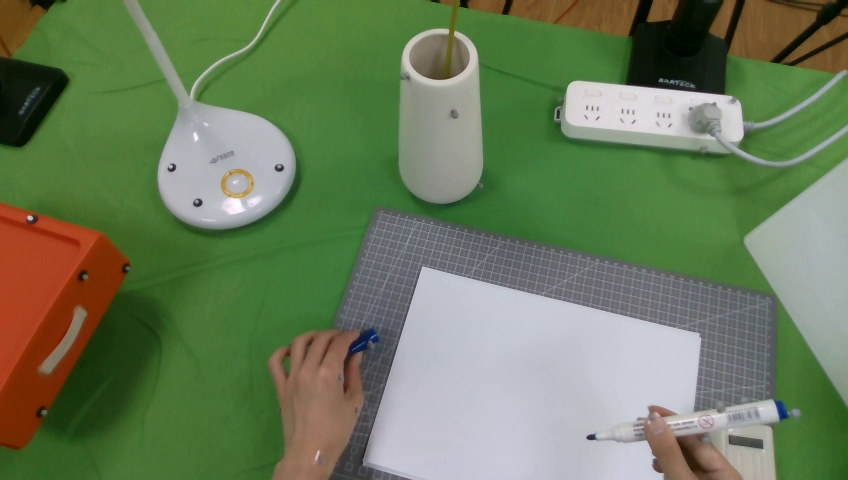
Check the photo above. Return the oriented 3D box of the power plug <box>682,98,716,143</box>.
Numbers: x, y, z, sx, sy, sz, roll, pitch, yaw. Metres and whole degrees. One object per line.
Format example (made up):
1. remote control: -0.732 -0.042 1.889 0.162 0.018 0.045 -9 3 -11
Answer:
1. power plug: 0.315 -0.133 0.702 0.035 0.053 0.072 17 67 10

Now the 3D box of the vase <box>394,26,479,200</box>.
1. vase: 0.011 -0.126 0.638 0.098 0.201 0.097 -1 63 2

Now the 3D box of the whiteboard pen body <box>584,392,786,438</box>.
1. whiteboard pen body: 0.187 0.132 0.447 0.140 0.017 0.017 -17 61 21

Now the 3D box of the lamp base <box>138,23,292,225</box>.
1. lamp base: -0.248 -0.132 0.655 0.160 0.182 0.177 -38 66 -17

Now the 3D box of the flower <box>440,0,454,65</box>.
1. flower: 0.020 -0.177 0.571 0.038 0.364 0.043 2 45 -5

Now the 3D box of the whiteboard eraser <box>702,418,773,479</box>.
1. whiteboard eraser: 0.283 0.216 0.548 0.055 0.042 0.112 8 64 4

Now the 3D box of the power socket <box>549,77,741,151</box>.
1. power socket: 0.269 -0.154 0.739 0.226 0.033 0.071 7 65 4

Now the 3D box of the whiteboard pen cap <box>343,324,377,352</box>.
1. whiteboard pen cap: -0.065 0.098 0.616 0.033 0.018 0.018 -34 67 -12

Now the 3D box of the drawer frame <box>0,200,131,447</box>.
1. drawer frame: -0.433 0.062 0.572 0.213 0.083 0.200 16 66 7

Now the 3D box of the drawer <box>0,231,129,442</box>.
1. drawer: -0.427 0.061 0.569 0.211 0.074 0.193 15 66 8

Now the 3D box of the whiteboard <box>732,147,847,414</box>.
1. whiteboard: 0.487 -0.004 0.543 0.144 0.307 0.215 -8 61 -24
